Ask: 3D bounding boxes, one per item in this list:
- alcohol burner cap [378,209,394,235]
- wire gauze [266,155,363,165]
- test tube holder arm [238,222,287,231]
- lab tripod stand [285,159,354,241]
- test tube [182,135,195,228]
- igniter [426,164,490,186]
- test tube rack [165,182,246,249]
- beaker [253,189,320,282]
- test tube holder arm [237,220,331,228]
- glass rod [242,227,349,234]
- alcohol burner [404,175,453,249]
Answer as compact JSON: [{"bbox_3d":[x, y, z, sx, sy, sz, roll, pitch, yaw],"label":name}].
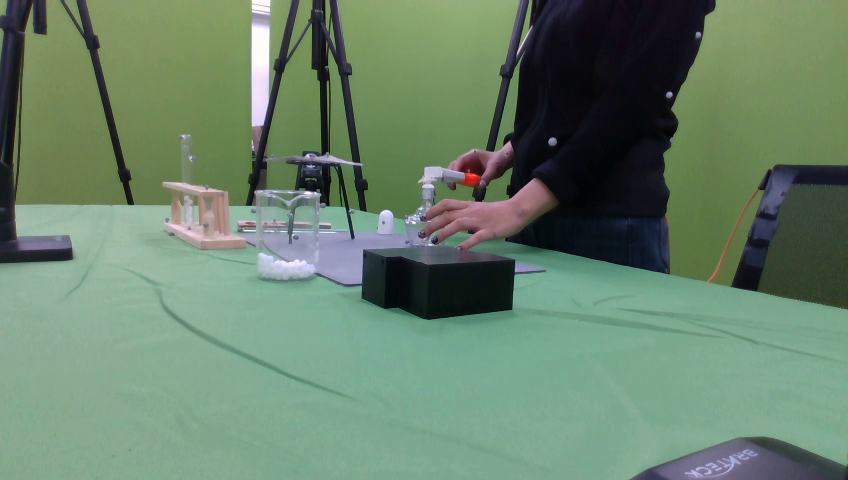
[{"bbox_3d":[-0.072,-0.035,1.145,0.034,0.048,0.034,2,7,0],"label":"alcohol burner cap"},{"bbox_3d":[-0.185,-0.136,1.016,0.126,0.011,0.121,-4,11,-33],"label":"wire gauze"},{"bbox_3d":[-0.296,-0.024,1.113,0.088,0.015,0.010,-1,42,-32],"label":"test tube holder arm"},{"bbox_3d":[-0.187,-0.068,1.013,0.148,0.131,0.148,4,9,0],"label":"lab tripod stand"},{"bbox_3d":[-0.382,-0.095,0.983,0.017,0.150,0.017,-1,2,0],"label":"test tube"},{"bbox_3d":[0.068,-0.117,1.109,0.057,0.025,0.277,2,2,22],"label":"igniter"},{"bbox_3d":[-0.360,-0.045,0.982,0.067,0.085,0.241,-3,9,-34],"label":"test tube rack"},{"bbox_3d":[-0.156,-0.005,0.689,0.074,0.100,0.083,0,8,-14],"label":"beaker"},{"bbox_3d":[-0.260,-0.029,1.141,0.179,0.015,0.013,-2,42,-33],"label":"test tube holder arm"},{"bbox_3d":[-0.232,-0.017,1.110,0.201,0.008,0.008,2,6,-30],"label":"glass rod"},{"bbox_3d":[0.007,-0.045,0.971,0.078,0.119,0.078,1,9,0],"label":"alcohol burner"}]
